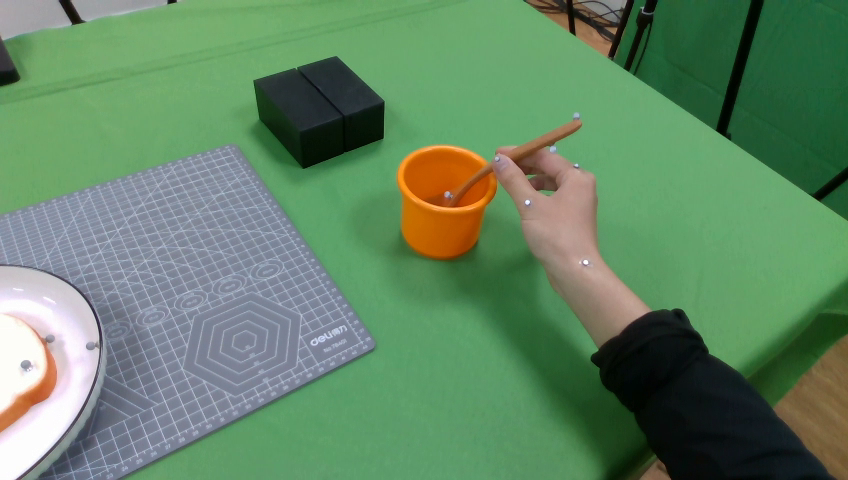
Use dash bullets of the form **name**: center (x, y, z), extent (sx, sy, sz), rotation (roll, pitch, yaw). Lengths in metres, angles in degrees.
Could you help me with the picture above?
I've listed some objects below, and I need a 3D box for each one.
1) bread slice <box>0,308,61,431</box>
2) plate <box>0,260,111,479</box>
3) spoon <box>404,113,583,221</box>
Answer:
- **bread slice**: center (-0.336, 0.103, 0.430), extent (0.104, 0.019, 0.131), rotation (36, 56, 23)
- **plate**: center (-0.330, 0.105, 0.426), extent (0.209, 0.038, 0.207), rotation (4, 49, -4)
- **spoon**: center (0.055, -0.063, 0.544), extent (0.022, 0.193, 0.041), rotation (42, 39, -23)
